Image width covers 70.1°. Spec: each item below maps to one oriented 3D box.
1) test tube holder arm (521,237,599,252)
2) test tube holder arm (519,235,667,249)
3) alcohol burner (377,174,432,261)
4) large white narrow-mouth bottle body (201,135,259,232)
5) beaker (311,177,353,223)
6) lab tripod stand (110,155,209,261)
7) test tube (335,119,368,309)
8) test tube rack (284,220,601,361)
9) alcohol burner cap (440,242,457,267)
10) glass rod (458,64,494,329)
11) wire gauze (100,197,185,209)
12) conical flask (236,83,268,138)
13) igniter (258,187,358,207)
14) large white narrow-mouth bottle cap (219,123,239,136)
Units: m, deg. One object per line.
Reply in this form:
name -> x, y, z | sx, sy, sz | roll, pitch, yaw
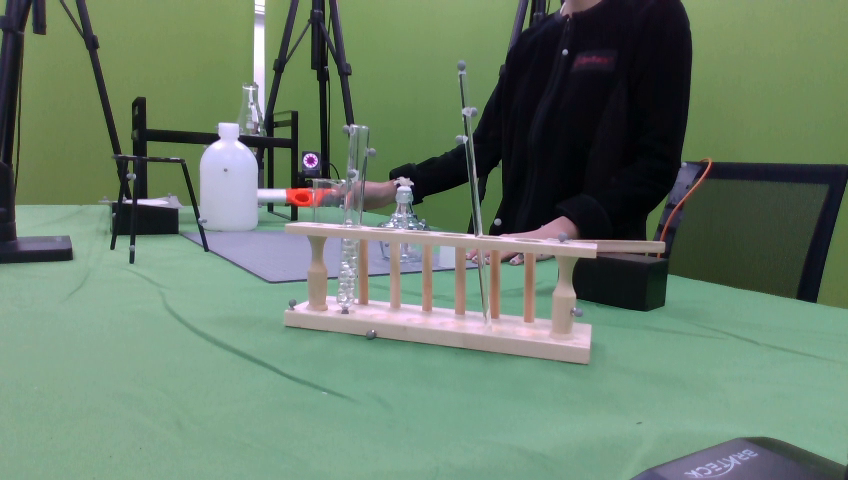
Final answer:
test tube holder arm -> 0.144, 0.004, 0.635 | 0.088, 0.015, 0.010 | 0, 14, -19
test tube holder arm -> 0.186, 0.003, 0.655 | 0.179, 0.015, 0.013 | 0, 14, -18
alcohol burner -> -0.027, -0.031, 0.838 | 0.078, 0.119, 0.078 | 0, 6, 0
large white narrow-mouth bottle body -> -0.358, -0.116, 1.116 | 0.102, 0.194, 0.102 | 2, 8, 0
beaker -> -0.167, -0.064, 1.106 | 0.074, 0.100, 0.083 | -2, 9, -26
lab tripod stand -> -0.361, -0.046, 0.806 | 0.148, 0.131, 0.148 | 2, 5, 0
test tube -> -0.057, -0.019, 0.477 | 0.017, 0.150, 0.017 | 5, 9, -1
test tube rack -> 0.013, 0.032, 0.482 | 0.242, 0.085, 0.067 | 4, 7, 16
alcohol burner cap -> 0.038, 0.011, 0.807 | 0.034, 0.048, 0.034 | 2, 8, 0
glass rod -> 0.039, -0.029, 0.449 | 0.008, 0.199, 0.008 | -7, 9, 1
wire gauze -> -0.469, -0.062, 1.008 | 0.126, 0.011, 0.121 | -2, 8, -25
conical flask -> -0.400, -0.298, 1.396 | 0.075, 0.122, 0.075 | 2, 8, 0
igniter -> -0.274, -0.089, 1.242 | 0.278, 0.025, 0.057 | -2, 43, -21
large white narrow-mouth bottle cap -> -0.356, -0.201, 1.105 | 0.038, 0.024, 0.037 | 2, 8, 0
